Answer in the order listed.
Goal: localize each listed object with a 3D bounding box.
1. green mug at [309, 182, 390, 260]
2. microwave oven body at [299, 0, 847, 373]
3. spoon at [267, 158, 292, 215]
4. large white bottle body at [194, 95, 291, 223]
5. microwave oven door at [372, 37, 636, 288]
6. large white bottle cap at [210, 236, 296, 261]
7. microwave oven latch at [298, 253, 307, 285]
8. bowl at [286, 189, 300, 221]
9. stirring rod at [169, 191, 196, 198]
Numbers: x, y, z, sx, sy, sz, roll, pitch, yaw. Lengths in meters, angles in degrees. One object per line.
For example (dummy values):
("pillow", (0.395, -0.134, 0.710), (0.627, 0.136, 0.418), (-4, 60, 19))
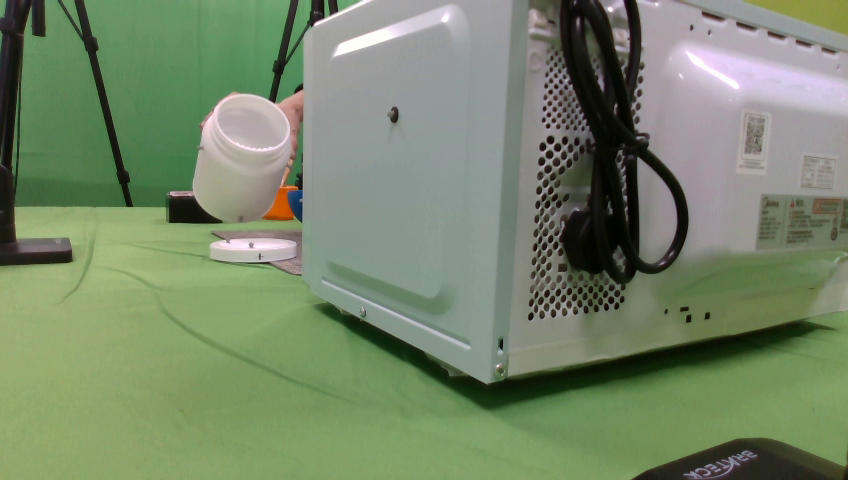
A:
("green mug", (-0.102, -0.029, 0.864), (0.126, 0.105, 0.092), (-3, 8, -40))
("microwave oven body", (0.151, -0.055, 0.543), (0.444, 0.260, 0.324), (-2, 7, -33))
("spoon", (-0.334, -0.128, 1.423), (0.041, 0.193, 0.022), (0, -37, 7))
("large white bottle body", (-0.285, -0.125, 0.952), (0.131, 0.130, 0.184), (-1, -30, -27))
("microwave oven door", (0.110, -0.080, 0.687), (0.358, 0.243, 0.039), (-2, 9, -33))
("large white bottle cap", (-0.236, 0.011, 0.839), (0.115, 0.018, 0.115), (-1, 10, 0))
("microwave oven latch", (-0.081, 0.027, 0.582), (0.079, 0.029, 0.030), (-1, 7, -31))
("bowl", (-0.179, -0.051, 1.115), (0.151, 0.077, 0.151), (3, 8, 0))
("stirring rod", (-0.465, -0.098, 1.283), (0.014, 0.006, 0.177), (42, 22, 17))
